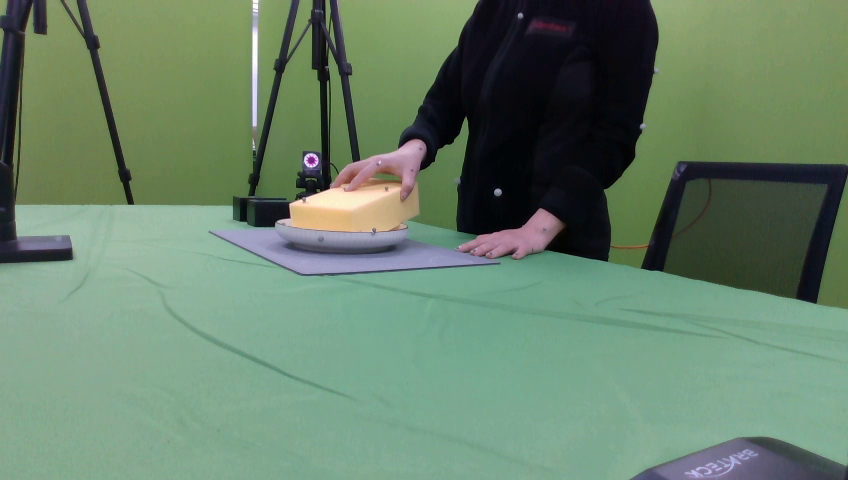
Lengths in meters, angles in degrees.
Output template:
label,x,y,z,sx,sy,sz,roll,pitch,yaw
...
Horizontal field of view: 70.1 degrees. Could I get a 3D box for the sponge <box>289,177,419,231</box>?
label,x,y,z,sx,sy,sz,roll,pitch,yaw
sponge,-0.107,-0.051,0.989,0.118,0.061,0.207,5,19,26

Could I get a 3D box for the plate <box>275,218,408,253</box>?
label,x,y,z,sx,sy,sz,roll,pitch,yaw
plate,-0.129,-0.009,0.954,0.209,0.038,0.209,2,7,0
